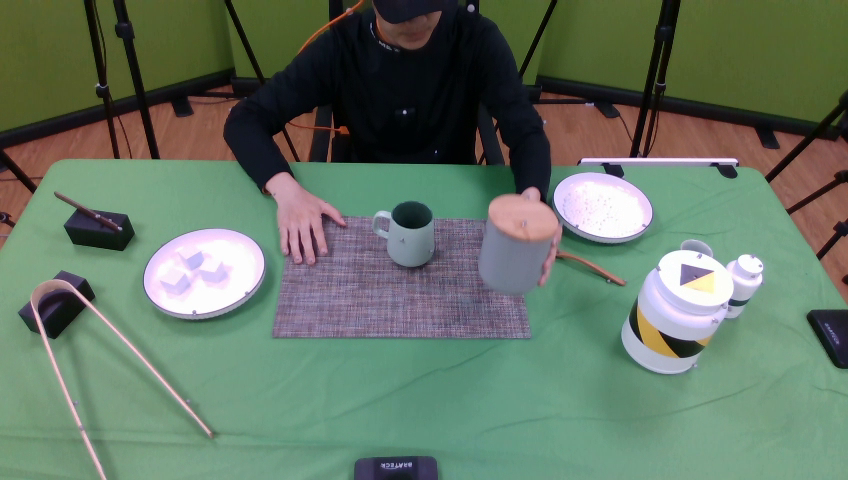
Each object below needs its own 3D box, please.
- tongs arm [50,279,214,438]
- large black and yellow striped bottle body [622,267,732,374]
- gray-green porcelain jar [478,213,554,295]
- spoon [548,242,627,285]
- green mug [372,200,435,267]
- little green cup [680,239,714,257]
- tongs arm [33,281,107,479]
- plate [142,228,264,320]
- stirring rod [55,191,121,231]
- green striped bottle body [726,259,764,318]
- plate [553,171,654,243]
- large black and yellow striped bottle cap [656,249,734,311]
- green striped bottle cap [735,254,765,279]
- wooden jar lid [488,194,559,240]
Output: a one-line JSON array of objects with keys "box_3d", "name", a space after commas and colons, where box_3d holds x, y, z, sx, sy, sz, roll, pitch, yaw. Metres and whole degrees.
[{"box_3d": [-0.459, 0.178, 0.949, 0.386, 0.028, 0.028, 37, 60, 17], "name": "tongs arm"}, {"box_3d": [0.415, 0.120, 0.997, 0.131, 0.185, 0.130, 2, 46, -2], "name": "large black and yellow striped bottle body"}, {"box_3d": [0.144, 0.015, 0.960, 0.106, 0.127, 0.105, 4, 41, -3], "name": "gray-green porcelain jar"}, {"box_3d": [0.303, 0.040, 1.178, 0.193, 0.022, 0.041, 25, 36, 20], "name": "spoon"}, {"box_3d": [-0.040, -0.015, 1.145, 0.125, 0.105, 0.092, 16, 48, 12], "name": "green mug"}, {"box_3d": [0.530, 0.033, 1.189, 0.061, 0.039, 0.061, 2, 47, -2], "name": "little green cup"}, {"box_3d": [-0.517, 0.214, 0.910, 0.051, 0.026, 0.383, -29, 63, -27], "name": "tongs arm"}, {"box_3d": [-0.394, 0.064, 1.095, 0.208, 0.039, 0.206, 2, 46, -2], "name": "plate"}, {"box_3d": [-0.632, -0.055, 1.138, 0.175, 0.014, 0.006, 24, 50, 19], "name": "stirring rod"}, {"box_3d": [0.563, 0.081, 1.089, 0.063, 0.120, 0.063, 2, 46, -2], "name": "green striped bottle body"}, {"box_3d": [0.373, -0.066, 1.275, 0.209, 0.038, 0.208, 2, 46, -2], "name": "plate"}, {"box_3d": [0.419, 0.061, 0.938, 0.115, 0.019, 0.114, 2, 47, -2], "name": "large black and yellow striped bottle cap"}, {"box_3d": [0.566, 0.046, 1.051, 0.044, 0.020, 0.044, 0, 45, 0], "name": "green striped bottle cap"}, {"box_3d": [0.149, -0.032, 0.918, 0.108, 0.021, 0.107, 7, 38, -6], "name": "wooden jar lid"}]
